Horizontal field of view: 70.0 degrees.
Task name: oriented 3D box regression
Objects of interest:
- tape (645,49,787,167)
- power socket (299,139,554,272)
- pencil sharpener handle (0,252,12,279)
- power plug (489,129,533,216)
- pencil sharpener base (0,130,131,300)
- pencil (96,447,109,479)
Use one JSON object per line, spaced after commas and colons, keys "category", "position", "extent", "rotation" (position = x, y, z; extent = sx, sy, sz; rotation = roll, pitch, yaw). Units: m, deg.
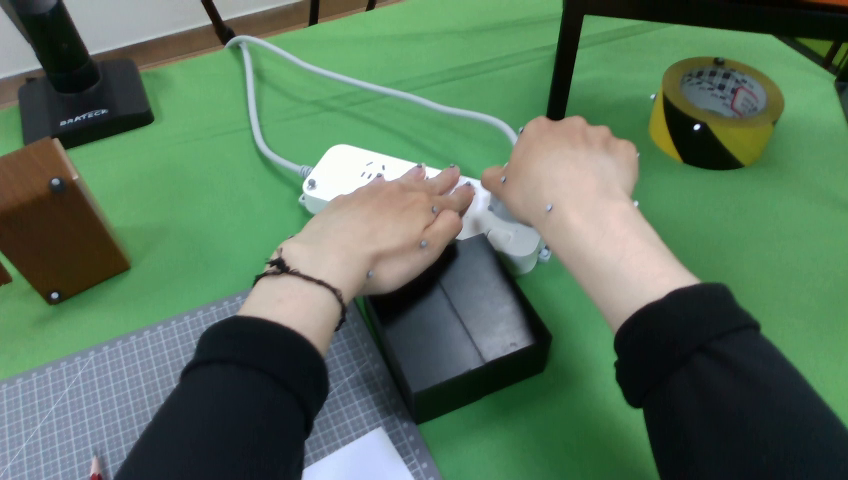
{"category": "tape", "position": [0.277, -0.128, 0.579], "extent": [0.117, 0.053, 0.115], "rotation": [0, 51, 1]}
{"category": "power socket", "position": [0.001, -0.033, 0.519], "extent": [0.226, 0.033, 0.072], "rotation": [17, 52, 15]}
{"category": "pencil sharpener handle", "position": [-0.324, 0.004, 0.428], "extent": [0.030, 0.068, 0.035], "rotation": [-31, 36, -22]}
{"category": "power plug", "position": [0.080, -0.048, 0.500], "extent": [0.035, 0.053, 0.072], "rotation": [25, 59, 23]}
{"category": "pencil sharpener base", "position": [-0.286, -0.015, 0.460], "extent": [0.077, 0.108, 0.061], "rotation": [-31, 57, -22]}
{"category": "pencil", "position": [-0.183, 0.205, 0.341], "extent": [0.012, 0.012, 0.192], "rotation": [-15, 49, -11]}
